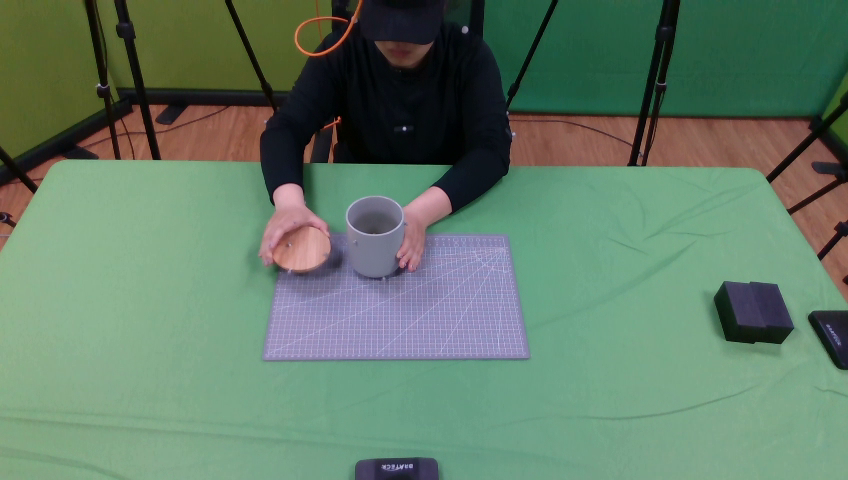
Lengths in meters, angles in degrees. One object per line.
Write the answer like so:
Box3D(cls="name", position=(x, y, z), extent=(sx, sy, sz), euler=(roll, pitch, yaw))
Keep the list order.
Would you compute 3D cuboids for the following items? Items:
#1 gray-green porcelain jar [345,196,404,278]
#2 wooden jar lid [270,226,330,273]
Box3D(cls="gray-green porcelain jar", position=(-0.091, -0.001, 1.117), extent=(0.106, 0.127, 0.105), euler=(2, 46, -2))
Box3D(cls="wooden jar lid", position=(-0.228, 0.020, 1.120), extent=(0.108, 0.021, 0.107), euler=(4, 49, -4))
